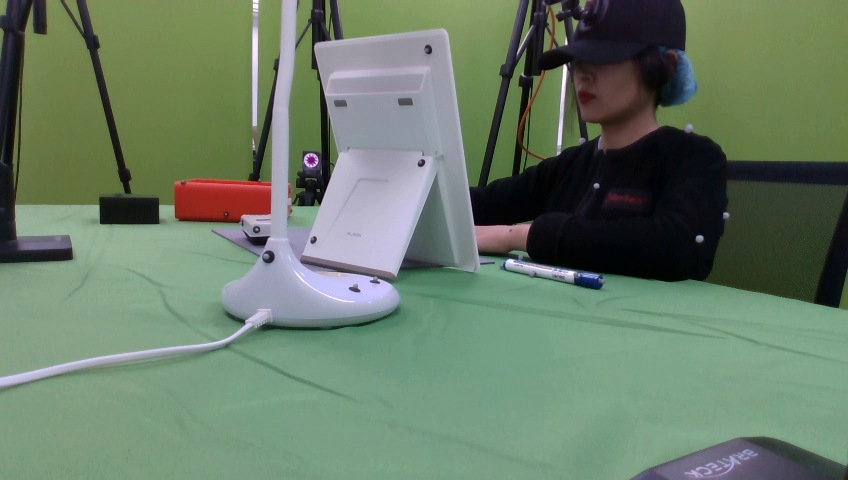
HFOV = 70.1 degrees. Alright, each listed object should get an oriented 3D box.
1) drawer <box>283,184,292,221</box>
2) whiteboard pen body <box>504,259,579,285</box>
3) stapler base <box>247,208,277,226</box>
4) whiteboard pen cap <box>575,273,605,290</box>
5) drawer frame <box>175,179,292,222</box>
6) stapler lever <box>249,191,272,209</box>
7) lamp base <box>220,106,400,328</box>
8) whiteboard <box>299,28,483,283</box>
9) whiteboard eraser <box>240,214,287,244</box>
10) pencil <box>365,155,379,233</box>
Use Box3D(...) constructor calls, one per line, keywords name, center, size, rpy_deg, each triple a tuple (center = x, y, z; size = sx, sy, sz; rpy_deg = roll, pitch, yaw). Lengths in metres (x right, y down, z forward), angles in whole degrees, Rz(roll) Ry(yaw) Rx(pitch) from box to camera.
Box3D(name="drawer", center=(-0.397, -0.086, 1.314), size=(0.212, 0.073, 0.194), rpy_deg=(1, 8, -9))
Box3D(name="whiteboard pen body", center=(0.157, 0.042, 0.764), size=(0.017, 0.017, 0.140), rpy_deg=(-4, 11, -41))
Box3D(name="stapler base", center=(-0.350, -0.054, 1.310), size=(0.041, 0.024, 0.130), rpy_deg=(-1, 13, -3))
Box3D(name="whiteboard pen cap", center=(0.197, 0.048, 0.719), size=(0.018, 0.018, 0.033), rpy_deg=(-4, 11, -41))
Box3D(name="drawer frame", center=(-0.402, -0.087, 1.311), size=(0.214, 0.082, 0.201), rpy_deg=(1, 8, -9))
Box3D(name="stapler lever", center=(-0.352, -0.086, 1.306), size=(0.027, 0.040, 0.118), rpy_deg=(-1, 5, -3))
Box3D(name="lamp base", center=(-0.101, -0.023, 0.531), size=(0.160, 0.180, 0.179), rpy_deg=(4, 10, 10))
Box3D(name="whiteboard", center=(-0.075, -0.082, 0.741), size=(0.216, 0.305, 0.144), rpy_deg=(9, 30, 38))
Box3D(name="whiteboard eraser", center=(-0.256, -0.017, 0.958), size=(0.056, 0.042, 0.112), rpy_deg=(0, 8, -25))
Box3D(name="pencil", center=(-0.089, -0.081, 1.031), size=(0.012, 0.012, 0.193), rpy_deg=(2, 47, -1))
